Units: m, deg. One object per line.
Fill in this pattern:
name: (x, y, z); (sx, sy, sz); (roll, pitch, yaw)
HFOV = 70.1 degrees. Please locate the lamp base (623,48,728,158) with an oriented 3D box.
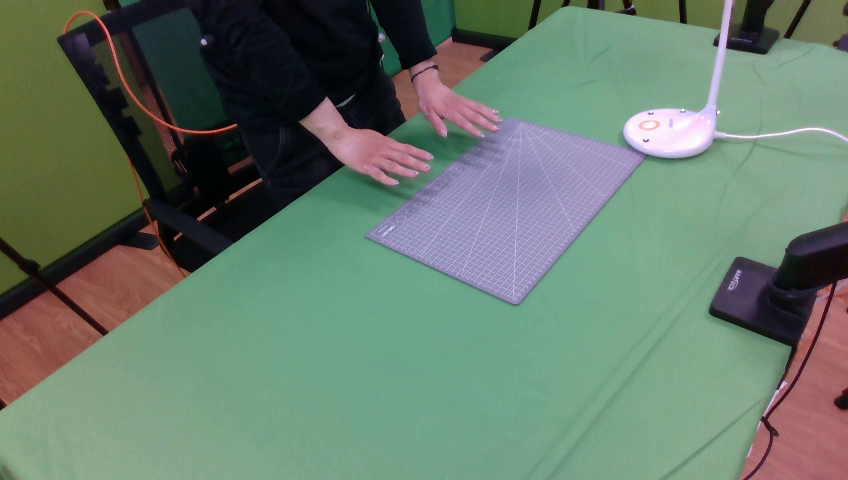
lamp base: (0.462, -0.261, 1.084); (0.179, 0.181, 0.160); (3, 42, 7)
